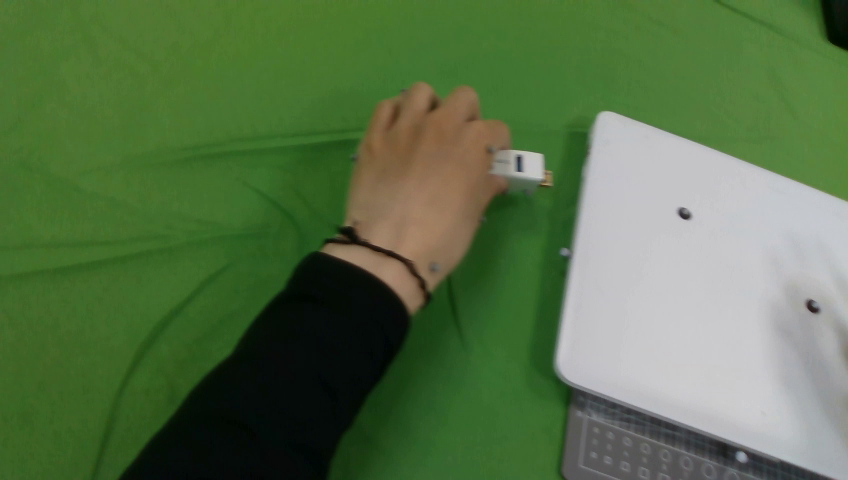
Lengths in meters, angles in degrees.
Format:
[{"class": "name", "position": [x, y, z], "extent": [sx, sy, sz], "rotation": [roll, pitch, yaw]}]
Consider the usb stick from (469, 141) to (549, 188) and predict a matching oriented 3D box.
[{"class": "usb stick", "position": [0.062, -0.051, 0.421], "extent": [0.059, 0.027, 0.021], "rotation": [6, 70, -17]}]

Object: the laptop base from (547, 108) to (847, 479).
[{"class": "laptop base", "position": [0.268, 0.048, 0.442], "extent": [0.355, 0.023, 0.234], "rotation": [20, 61, -3]}]

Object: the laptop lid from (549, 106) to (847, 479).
[{"class": "laptop lid", "position": [0.270, 0.044, 0.431], "extent": [0.357, 0.013, 0.240], "rotation": [21, 59, -2]}]
